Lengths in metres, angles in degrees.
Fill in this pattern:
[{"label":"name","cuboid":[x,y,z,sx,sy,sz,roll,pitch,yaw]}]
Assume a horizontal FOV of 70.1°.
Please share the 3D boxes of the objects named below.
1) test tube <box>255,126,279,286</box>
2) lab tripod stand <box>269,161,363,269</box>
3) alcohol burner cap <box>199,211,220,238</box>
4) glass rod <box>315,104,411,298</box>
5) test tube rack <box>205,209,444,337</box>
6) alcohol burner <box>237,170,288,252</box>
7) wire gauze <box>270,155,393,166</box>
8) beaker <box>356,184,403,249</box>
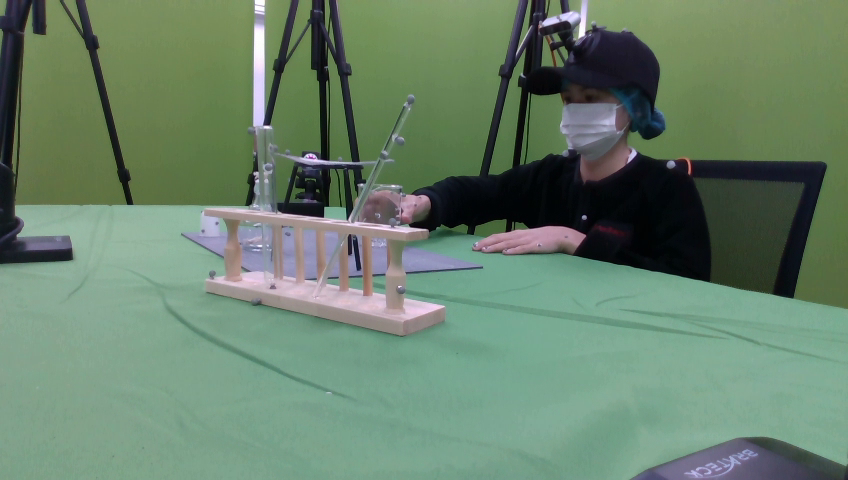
[{"label":"test tube","cuboid":[-0.147,-0.031,0.566,0.017,0.150,0.017,-1,8,0]},{"label":"lab tripod stand","cuboid":[-0.125,-0.036,0.794,0.148,0.131,0.148,5,7,0]},{"label":"alcohol burner cap","cuboid":[-0.356,-0.027,1.002,0.034,0.048,0.034,2,7,0]},{"label":"glass rod","cuboid":[-0.055,-0.026,0.516,0.008,0.199,0.008,23,24,-11]},{"label":"test tube rack","cuboid":[-0.100,0.021,0.565,0.241,0.085,0.067,7,9,32]},{"label":"alcohol burner","cuboid":[-0.236,-0.042,0.882,0.078,0.119,0.078,2,9,0]},{"label":"wire gauze","cuboid":[-0.121,-0.102,0.785,0.122,0.011,0.124,-3,10,-39]},{"label":"beaker","cuboid":[-0.074,-0.039,0.975,0.074,0.100,0.084,4,8,12]}]
